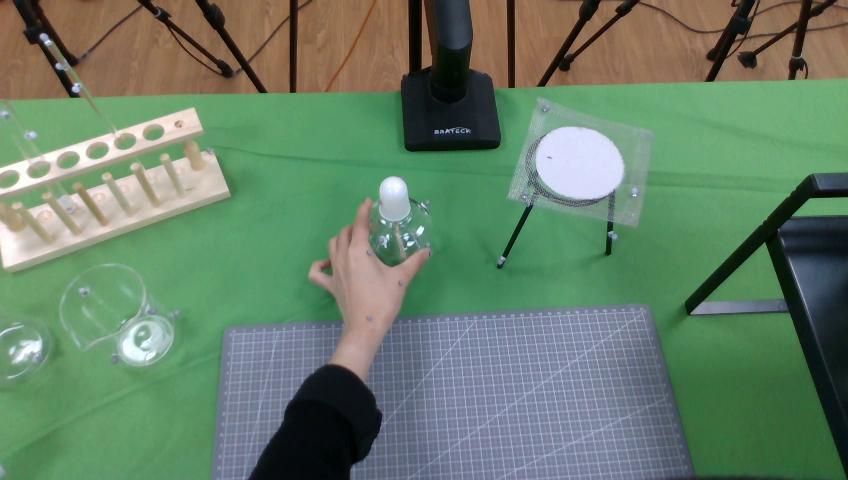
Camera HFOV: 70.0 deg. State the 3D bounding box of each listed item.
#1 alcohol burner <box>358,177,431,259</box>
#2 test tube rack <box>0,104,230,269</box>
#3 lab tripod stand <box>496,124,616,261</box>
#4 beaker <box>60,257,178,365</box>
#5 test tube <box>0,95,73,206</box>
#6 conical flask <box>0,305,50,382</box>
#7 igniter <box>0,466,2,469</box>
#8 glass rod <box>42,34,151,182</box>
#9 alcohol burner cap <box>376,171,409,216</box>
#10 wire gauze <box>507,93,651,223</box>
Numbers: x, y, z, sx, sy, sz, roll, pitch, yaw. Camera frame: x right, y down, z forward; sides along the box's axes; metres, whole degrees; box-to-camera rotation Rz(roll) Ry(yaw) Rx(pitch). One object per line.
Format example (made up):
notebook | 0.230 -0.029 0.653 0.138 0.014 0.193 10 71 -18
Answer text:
alcohol burner | -0.031 -0.030 0.634 0.078 0.120 0.077 1 59 -1
test tube rack | -0.347 -0.058 0.652 0.242 0.086 0.066 -22 65 -14
lab tripod stand | 0.143 -0.046 0.639 0.148 0.132 0.147 2 60 -3
beaker | -0.285 0.075 0.576 0.074 0.101 0.083 11 62 4
test tube | -0.389 -0.084 0.607 0.017 0.151 0.017 2 55 -2
conical flask | -0.410 0.079 0.555 0.075 0.123 0.074 1 61 -1
igniter | -0.456 0.269 0.452 0.057 0.025 0.276 38 64 15
glass rod | -0.324 -0.122 0.612 0.008 0.201 0.008 -2 56 4
alcohol burner cap | -0.032 -0.049 0.602 0.034 0.048 0.033 1 59 -1
wire gauze | 0.152 -0.080 0.581 0.121 0.011 0.124 17 63 5
